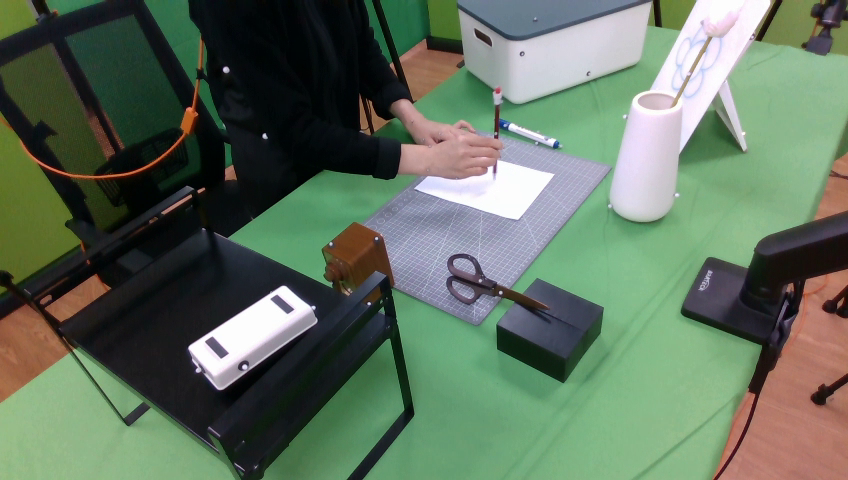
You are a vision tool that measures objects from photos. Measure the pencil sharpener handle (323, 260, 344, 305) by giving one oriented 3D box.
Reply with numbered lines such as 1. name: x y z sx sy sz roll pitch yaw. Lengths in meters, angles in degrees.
1. pencil sharpener handle: -0.131 0.062 0.839 0.035 0.068 0.031 29 55 28

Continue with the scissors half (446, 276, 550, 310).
1. scissors half: 0.098 0.077 0.827 0.174 0.040 0.013 6 14 44

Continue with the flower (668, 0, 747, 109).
1. flower: 0.354 -0.187 0.879 0.038 0.362 0.044 30 48 14

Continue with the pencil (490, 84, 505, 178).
1. pencil: 0.119 -0.172 0.991 0.012 0.195 0.012 0 49 0

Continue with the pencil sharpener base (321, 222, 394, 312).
1. pencil sharpener base: -0.096 0.041 0.873 0.061 0.107 0.077 25 54 32

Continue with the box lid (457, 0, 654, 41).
1. box lid: 0.285 -0.522 1.323 0.373 0.015 0.261 -22 43 -16

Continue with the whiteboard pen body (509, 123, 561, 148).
1. whiteboard pen body: 0.208 -0.211 1.195 0.139 0.017 0.017 30 52 33

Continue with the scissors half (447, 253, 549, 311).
1. scissors half: 0.098 0.058 0.821 0.173 0.040 0.013 27 34 36

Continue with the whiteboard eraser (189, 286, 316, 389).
1. whiteboard eraser: -0.166 0.096 0.593 0.113 0.042 0.055 -36 47 -29

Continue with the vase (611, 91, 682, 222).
1. vase: 0.348 -0.125 0.935 0.098 0.201 0.097 -3 40 3

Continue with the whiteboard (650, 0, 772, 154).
1. whiteboard: 0.543 -0.298 1.076 0.144 0.305 0.216 12 40 -7

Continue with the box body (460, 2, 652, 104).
1. box body: 0.291 -0.465 1.371 0.365 0.161 0.252 -22 42 -16

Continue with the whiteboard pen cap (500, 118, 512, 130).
1. whiteboard pen cap: 0.165 -0.235 1.227 0.033 0.018 0.018 31 53 31
